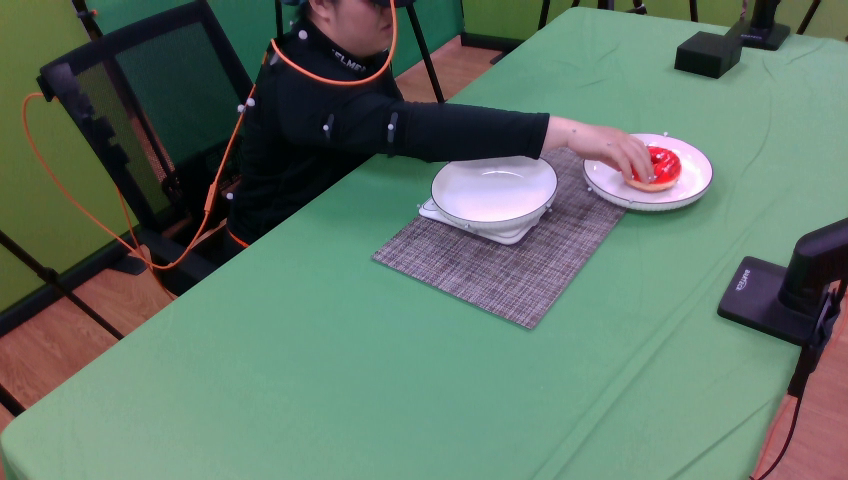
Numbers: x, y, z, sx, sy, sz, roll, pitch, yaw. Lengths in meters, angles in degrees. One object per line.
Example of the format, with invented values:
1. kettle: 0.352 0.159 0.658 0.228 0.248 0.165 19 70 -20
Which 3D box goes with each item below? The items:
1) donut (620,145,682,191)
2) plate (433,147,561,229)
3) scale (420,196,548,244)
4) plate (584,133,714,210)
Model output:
1. donut: 0.381 -0.122 1.016 0.099 0.048 0.098 -5 42 5
2. plate: 0.120 -0.082 0.996 0.207 0.039 0.206 -6 40 5
3. scale: 0.106 -0.064 1.029 0.199 0.032 0.149 21 48 32
4. plate: 0.379 -0.113 1.030 0.209 0.038 0.208 -4 41 4
